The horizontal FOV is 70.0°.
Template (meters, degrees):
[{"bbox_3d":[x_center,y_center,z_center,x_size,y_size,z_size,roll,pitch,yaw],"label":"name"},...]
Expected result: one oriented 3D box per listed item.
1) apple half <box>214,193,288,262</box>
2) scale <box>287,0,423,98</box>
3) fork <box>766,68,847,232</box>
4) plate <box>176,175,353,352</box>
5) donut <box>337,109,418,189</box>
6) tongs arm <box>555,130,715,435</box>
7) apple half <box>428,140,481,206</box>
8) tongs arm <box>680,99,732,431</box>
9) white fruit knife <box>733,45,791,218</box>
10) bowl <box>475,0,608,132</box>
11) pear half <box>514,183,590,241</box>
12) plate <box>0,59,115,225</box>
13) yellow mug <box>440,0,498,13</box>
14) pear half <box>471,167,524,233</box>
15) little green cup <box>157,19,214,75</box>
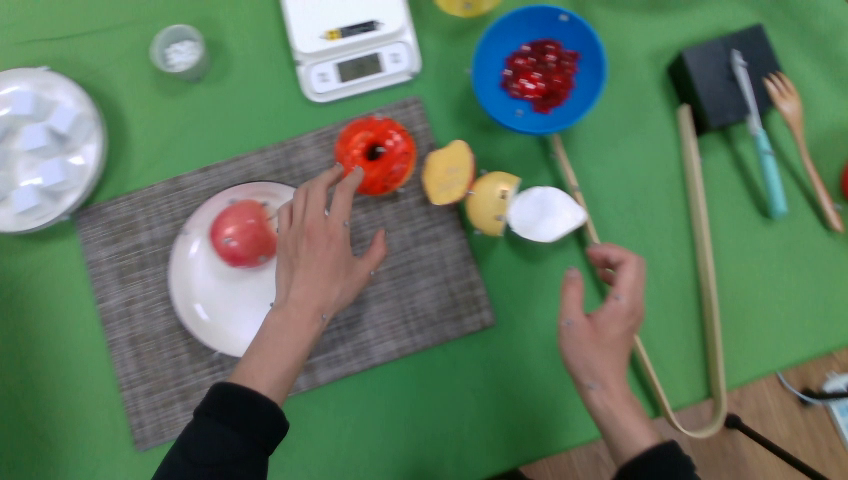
[{"bbox_3d":[-0.207,-0.015,0.707,0.074,0.053,0.080,-25,87,1],"label":"apple half"},{"bbox_3d":[-0.093,-0.289,0.756,0.149,0.031,0.200,-14,84,1],"label":"scale"},{"bbox_3d":[0.447,-0.102,0.700,0.028,0.018,0.208,-28,99,-3],"label":"fork"},{"bbox_3d":[-0.185,0.027,0.719,0.209,0.038,0.208,0,84,2],"label":"plate"},{"bbox_3d":[-0.055,-0.109,0.726,0.099,0.048,0.099,0,85,5],"label":"donut"},{"bbox_3d":[0.243,0.044,0.707,0.051,0.026,0.383,-18,84,-5],"label":"tongs arm"},{"bbox_3d":[0.044,-0.079,0.725,0.080,0.033,0.081,12,108,42],"label":"apple half"},{"bbox_3d":[0.327,0.024,0.711,0.028,0.028,0.386,-3,84,-7],"label":"tongs arm"},{"bbox_3d":[0.387,-0.123,0.697,0.016,0.027,0.208,-21,98,0],"label":"white fruit knife"},{"bbox_3d":[0.133,-0.193,0.715,0.151,0.077,0.151,0,85,2],"label":"bowl"},{"bbox_3d":[0.152,-0.031,0.719,0.087,0.031,0.070,7,82,18],"label":"pear half"},{"bbox_3d":[-0.482,-0.119,0.750,0.207,0.039,0.207,0,84,2],"label":"plate"},{"bbox_3d":[0.043,-0.349,0.740,0.130,0.064,0.100,39,87,6],"label":"yellow mug"},{"bbox_3d":[0.081,-0.051,0.686,0.056,0.110,0.076,14,80,5],"label":"pear half"},{"bbox_3d":[-0.295,-0.238,0.756,0.061,0.039,0.061,0,83,3],"label":"little green cup"}]
